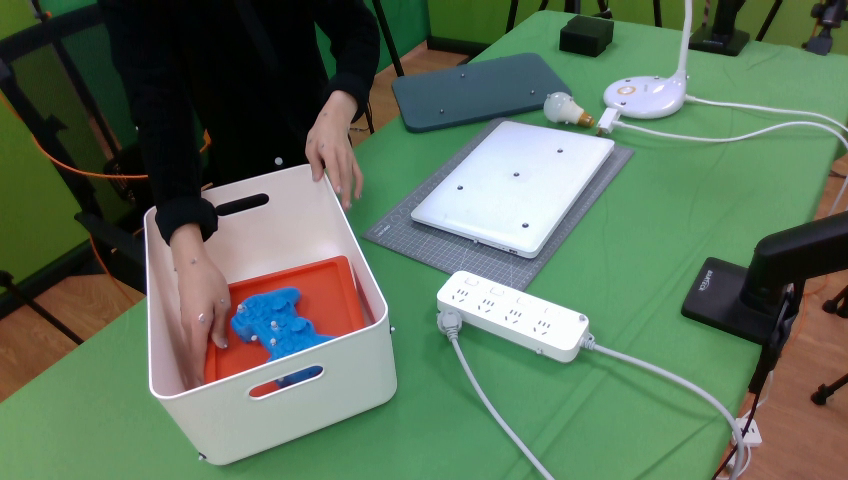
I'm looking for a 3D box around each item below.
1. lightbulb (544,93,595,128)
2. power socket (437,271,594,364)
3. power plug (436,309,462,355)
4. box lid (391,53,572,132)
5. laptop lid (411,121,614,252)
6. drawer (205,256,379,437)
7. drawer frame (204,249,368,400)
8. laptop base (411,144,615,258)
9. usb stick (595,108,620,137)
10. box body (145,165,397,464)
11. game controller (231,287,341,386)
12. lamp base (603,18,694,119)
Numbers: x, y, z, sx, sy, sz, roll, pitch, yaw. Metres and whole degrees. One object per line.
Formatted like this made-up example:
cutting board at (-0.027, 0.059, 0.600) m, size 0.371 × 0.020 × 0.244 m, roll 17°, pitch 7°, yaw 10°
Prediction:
lightbulb at (0.293, -0.256, 1.215) m, size 0.107 × 0.059 × 0.059 m, roll 30°, pitch 51°, yaw 16°
power socket at (0.118, 0.102, 0.830) m, size 0.225 × 0.033 × 0.072 m, roll 20°, pitch 48°, yaw 28°
power plug at (0.032, 0.126, 0.809) m, size 0.035 × 0.053 × 0.072 m, roll 3°, pitch 59°, yaw 7°
box lid at (0.122, -0.339, 1.366) m, size 0.372 × 0.015 × 0.261 m, roll -12°, pitch 40°, yaw -5°
laptop lid at (0.164, -0.112, 1.068) m, size 0.240 × 0.013 × 0.357 m, roll 19°, pitch 46°, yaw 30°
drawer at (-0.177, 0.129, 0.787) m, size 0.195 × 0.073 × 0.210 m, roll -14°, pitch 39°, yaw -10°
drawer frame at (-0.174, 0.129, 0.790) m, size 0.202 × 0.083 × 0.212 m, roll -16°, pitch 45°, yaw -8°
laptop base at (0.167, -0.102, 1.074) m, size 0.234 × 0.023 × 0.355 m, roll 17°, pitch 45°, yaw 30°
usb stick at (0.355, -0.226, 1.175) m, size 0.027 × 0.022 × 0.059 m, roll 29°, pitch 85°, yaw 41°
box body at (-0.205, 0.080, 0.802) m, size 0.255 × 0.161 × 0.361 m, roll -18°, pitch 41°, yaw -13°
game controller at (-0.167, 0.110, 0.735) m, size 0.097 × 0.052 × 0.154 m, roll -34°, pitch 47°, yaw -22°
lamp base at (0.460, -0.355, 1.205) m, size 0.179 × 0.181 × 0.160 m, roll 2°, pitch 41°, yaw 7°
